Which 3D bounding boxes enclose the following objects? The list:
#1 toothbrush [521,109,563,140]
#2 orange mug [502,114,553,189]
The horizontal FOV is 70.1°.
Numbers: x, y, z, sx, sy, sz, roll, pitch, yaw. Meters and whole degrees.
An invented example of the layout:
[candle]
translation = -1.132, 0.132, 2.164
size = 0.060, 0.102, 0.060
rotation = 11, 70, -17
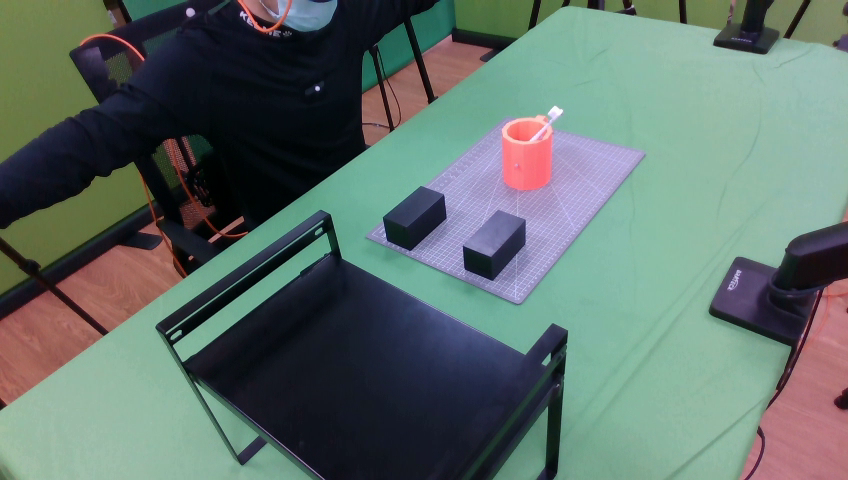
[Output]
[toothbrush]
translation = 0.185, -0.181, 1.016
size = 0.017, 0.181, 0.014
rotation = -4, 81, -16
[orange mug]
translation = 0.190, -0.164, 1.071
size = 0.083, 0.101, 0.126
rotation = 16, 50, 25
